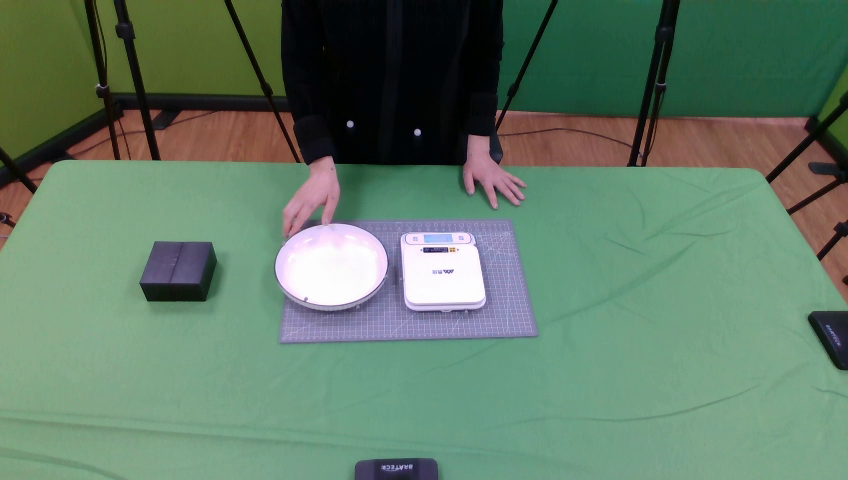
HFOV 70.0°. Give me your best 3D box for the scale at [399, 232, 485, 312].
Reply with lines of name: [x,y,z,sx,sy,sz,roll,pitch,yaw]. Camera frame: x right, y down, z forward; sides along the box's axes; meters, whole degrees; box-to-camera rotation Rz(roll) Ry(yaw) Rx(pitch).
scale: [0.031,0.050,1.141,0.149,0.032,0.199,-1,46,-5]

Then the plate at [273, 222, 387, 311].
plate: [-0.172,0.051,1.120,0.209,0.038,0.208,2,46,-2]
